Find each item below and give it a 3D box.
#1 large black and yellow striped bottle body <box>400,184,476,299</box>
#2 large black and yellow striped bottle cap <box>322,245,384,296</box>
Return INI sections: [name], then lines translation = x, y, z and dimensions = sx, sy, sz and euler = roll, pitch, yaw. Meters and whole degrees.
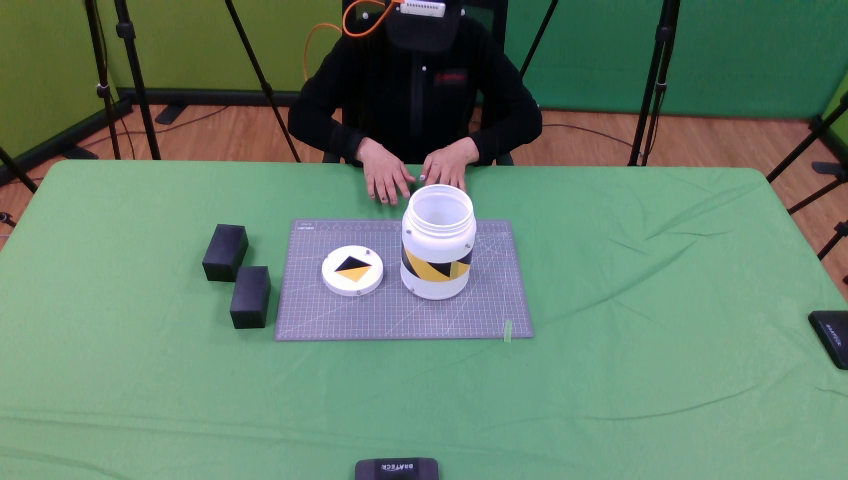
[large black and yellow striped bottle body]
translation = 0.024, 0.003, 1.079
dimensions = 0.131, 0.185, 0.130
euler = 2, 46, -2
[large black and yellow striped bottle cap]
translation = -0.133, 0.055, 1.135
dimensions = 0.115, 0.019, 0.114
euler = 2, 47, -2
